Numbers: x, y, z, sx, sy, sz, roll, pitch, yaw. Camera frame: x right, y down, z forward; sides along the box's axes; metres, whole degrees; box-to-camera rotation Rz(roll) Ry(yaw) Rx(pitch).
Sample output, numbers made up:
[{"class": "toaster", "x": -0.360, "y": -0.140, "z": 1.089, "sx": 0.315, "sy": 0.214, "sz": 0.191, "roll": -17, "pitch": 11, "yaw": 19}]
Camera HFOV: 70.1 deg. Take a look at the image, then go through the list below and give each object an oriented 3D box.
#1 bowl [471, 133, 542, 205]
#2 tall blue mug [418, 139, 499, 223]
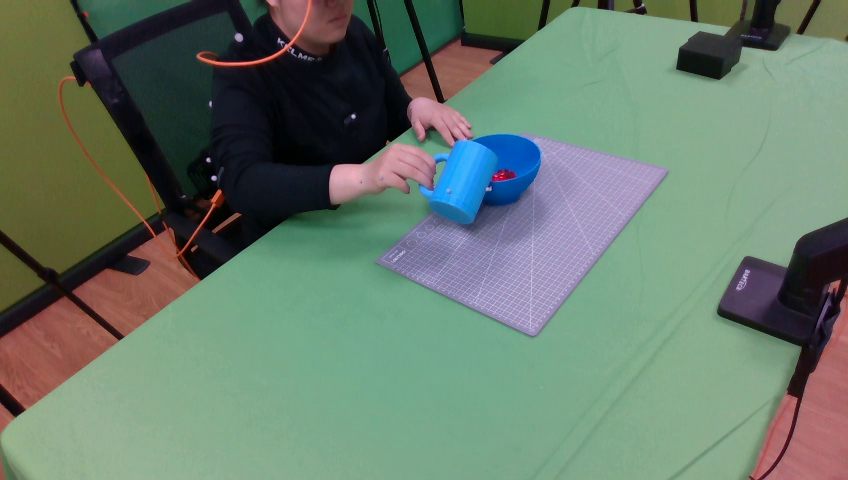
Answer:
[{"class": "bowl", "x": 0.129, "y": -0.113, "z": 1.045, "sx": 0.151, "sy": 0.077, "sz": 0.150, "roll": -5, "pitch": 40, "yaw": 5}, {"class": "tall blue mug", "x": 0.047, "y": -0.096, "z": 0.939, "sx": 0.107, "sy": 0.078, "sz": 0.108, "roll": 23, "pitch": 77, "yaw": 1}]
